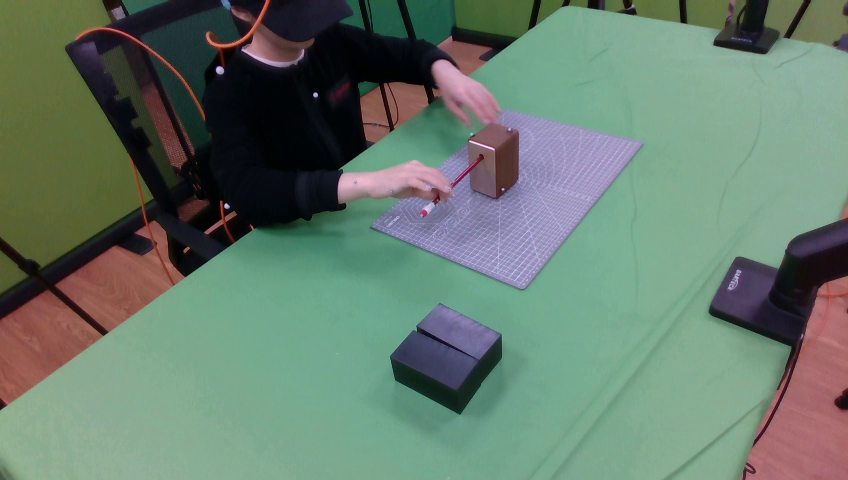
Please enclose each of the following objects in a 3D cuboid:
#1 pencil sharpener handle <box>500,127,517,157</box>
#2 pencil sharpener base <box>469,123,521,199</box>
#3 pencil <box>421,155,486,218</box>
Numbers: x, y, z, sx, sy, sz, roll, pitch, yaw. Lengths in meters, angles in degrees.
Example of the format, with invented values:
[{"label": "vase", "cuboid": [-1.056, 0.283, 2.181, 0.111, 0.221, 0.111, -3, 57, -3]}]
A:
[{"label": "pencil sharpener handle", "cuboid": [0.154, -0.178, 1.072, 0.036, 0.068, 0.031, 36, 55, 20]}, {"label": "pencil sharpener base", "cuboid": [0.126, -0.138, 1.050, 0.061, 0.107, 0.077, 24, 50, 33]}, {"label": "pencil", "cuboid": [0.057, -0.095, 0.976, 0.012, 0.012, 0.194, 24, 53, 32]}]
